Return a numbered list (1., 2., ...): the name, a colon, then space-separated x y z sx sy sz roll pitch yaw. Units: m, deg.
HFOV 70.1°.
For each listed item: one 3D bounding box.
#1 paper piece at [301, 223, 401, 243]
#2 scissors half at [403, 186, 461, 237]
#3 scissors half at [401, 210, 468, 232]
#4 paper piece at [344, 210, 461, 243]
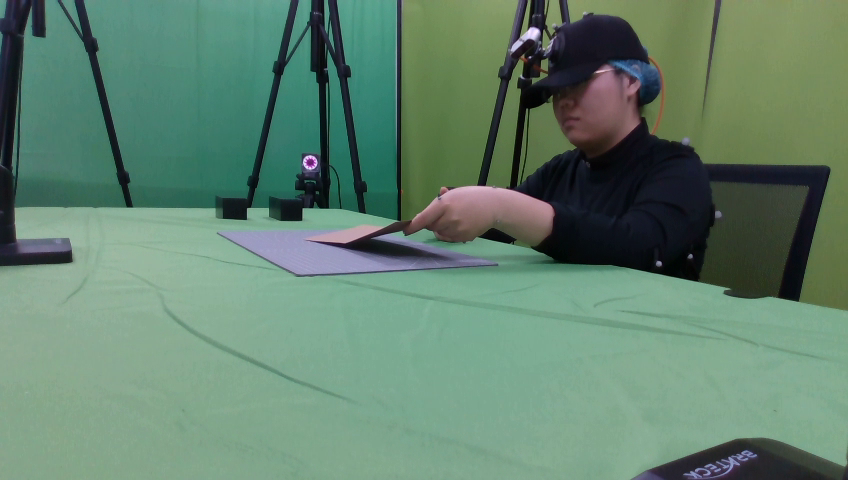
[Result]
1. paper piece: -0.121 -0.013 1.033 0.136 0.004 0.134 -15 14 -41
2. scissors half: 0.014 -0.050 1.075 0.013 0.040 0.175 -15 21 45
3. scissors half: 0.021 -0.030 1.078 0.012 0.040 0.176 -8 0 44
4. paper piece: -0.034 -0.021 0.934 0.137 0.008 0.137 -19 3 -40
